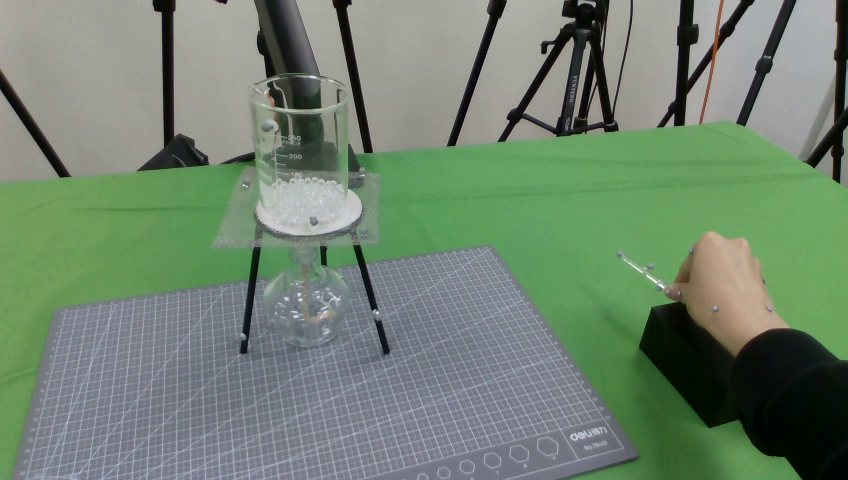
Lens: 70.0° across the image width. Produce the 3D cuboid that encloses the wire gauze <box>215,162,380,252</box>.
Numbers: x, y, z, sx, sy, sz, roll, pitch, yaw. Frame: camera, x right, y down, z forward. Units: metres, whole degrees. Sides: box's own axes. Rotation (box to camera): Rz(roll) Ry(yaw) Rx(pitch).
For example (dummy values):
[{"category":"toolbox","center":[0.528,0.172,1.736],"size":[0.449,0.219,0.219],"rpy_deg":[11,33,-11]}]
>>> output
[{"category":"wire gauze","center":[-0.097,-0.030,0.498],"size":[0.121,0.011,0.124],"rpy_deg":[1,37,-4]}]

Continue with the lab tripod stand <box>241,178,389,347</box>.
[{"category":"lab tripod stand","center":[-0.094,0.024,0.536],"size":[0.148,0.132,0.147],"rpy_deg":[4,34,-2]}]

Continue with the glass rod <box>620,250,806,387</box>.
[{"category":"glass rod","center":[0.249,0.063,0.542],"size":[0.008,0.008,0.197],"rpy_deg":[-17,40,-26]}]

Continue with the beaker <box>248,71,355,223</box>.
[{"category":"beaker","center":[-0.096,-0.071,0.471],"size":[0.083,0.101,0.074],"rpy_deg":[22,38,23]}]

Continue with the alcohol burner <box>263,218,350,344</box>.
[{"category":"alcohol burner","center":[-0.105,0.033,0.539],"size":[0.078,0.120,0.077],"rpy_deg":[1,33,-1]}]
